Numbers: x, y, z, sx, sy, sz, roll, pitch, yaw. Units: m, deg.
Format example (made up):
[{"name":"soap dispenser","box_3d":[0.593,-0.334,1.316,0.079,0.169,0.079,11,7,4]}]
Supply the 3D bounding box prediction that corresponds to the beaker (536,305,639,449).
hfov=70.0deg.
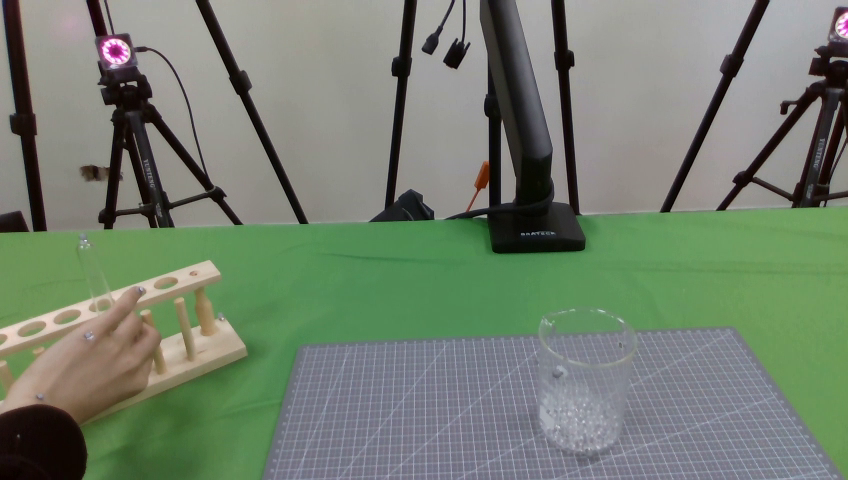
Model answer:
[{"name":"beaker","box_3d":[0.127,0.112,0.496,0.074,0.101,0.083,-24,36,-32]}]

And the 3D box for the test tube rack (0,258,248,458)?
[{"name":"test tube rack","box_3d":[-0.299,0.105,0.563,0.243,0.086,0.066,-21,35,-29]}]

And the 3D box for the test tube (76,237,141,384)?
[{"name":"test tube","box_3d":[-0.278,0.066,0.537,0.017,0.151,0.017,-2,27,2]}]
